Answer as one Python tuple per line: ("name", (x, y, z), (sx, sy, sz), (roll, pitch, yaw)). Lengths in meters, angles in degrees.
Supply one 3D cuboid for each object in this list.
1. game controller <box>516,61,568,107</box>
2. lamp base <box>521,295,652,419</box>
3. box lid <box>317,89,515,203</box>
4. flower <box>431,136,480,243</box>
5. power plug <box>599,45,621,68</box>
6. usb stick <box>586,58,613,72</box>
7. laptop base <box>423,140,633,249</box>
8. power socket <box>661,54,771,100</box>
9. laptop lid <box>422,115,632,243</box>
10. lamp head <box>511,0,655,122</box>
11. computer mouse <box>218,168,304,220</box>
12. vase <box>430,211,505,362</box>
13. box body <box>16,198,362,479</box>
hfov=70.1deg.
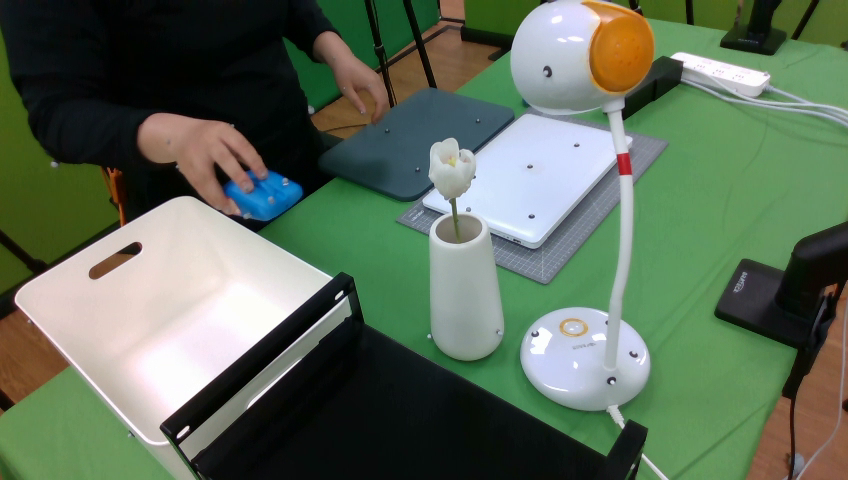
("game controller", (0.259, -0.352, 1.336), (0.097, 0.052, 0.154), (-3, 41, 2))
("lamp base", (0.201, 0.095, 0.710), (0.161, 0.181, 0.177), (-16, 43, -10))
("box lid", (-0.009, -0.207, 1.236), (0.261, 0.015, 0.372), (23, 49, 32))
("flower", (0.041, 0.011, 0.691), (0.044, 0.363, 0.038), (16, 62, 14))
("power plug", (0.437, -0.422, 1.412), (0.053, 0.035, 0.072), (-18, 74, -46))
("usb stick", (0.401, -0.399, 1.380), (0.059, 0.027, 0.021), (1, 48, 20))
("laptop base", (0.194, -0.117, 1.087), (0.233, 0.023, 0.355), (20, 47, 34))
("power socket", (0.615, -0.348, 1.285), (0.072, 0.033, 0.225), (-36, 48, -29))
("laptop lid", (0.190, -0.126, 1.081), (0.239, 0.013, 0.358), (23, 48, 34))
("lamp head", (0.155, -0.168, 0.563), (0.113, 0.113, 0.122), (-18, 23, -12))
("computer mouse", (-0.199, -0.057, 0.724), (0.116, 0.041, 0.063), (15, 43, 43))
("vase", (0.053, 0.062, 0.758), (0.098, 0.201, 0.097), (-3, 40, 3))
("box body", (-0.285, 0.123, 0.766), (0.361, 0.161, 0.255), (25, 49, 33))
